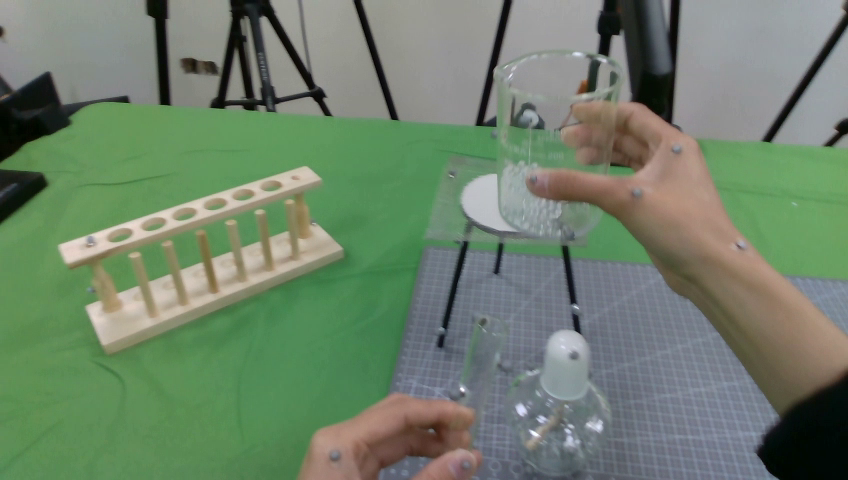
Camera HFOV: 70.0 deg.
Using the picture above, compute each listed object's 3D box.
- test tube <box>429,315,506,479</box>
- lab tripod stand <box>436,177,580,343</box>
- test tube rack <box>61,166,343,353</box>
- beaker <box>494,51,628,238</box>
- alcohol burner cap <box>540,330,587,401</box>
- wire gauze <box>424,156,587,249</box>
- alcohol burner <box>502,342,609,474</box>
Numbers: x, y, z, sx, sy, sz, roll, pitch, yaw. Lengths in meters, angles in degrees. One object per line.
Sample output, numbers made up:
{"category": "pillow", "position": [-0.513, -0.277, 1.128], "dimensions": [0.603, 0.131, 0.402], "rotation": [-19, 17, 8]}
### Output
{"category": "test tube", "position": [0.016, 0.104, 0.311], "dimensions": [0.017, 0.151, 0.017], "rotation": [11, 25, -5]}
{"category": "lab tripod stand", "position": [0.079, 0.022, 0.537], "dimensions": [0.148, 0.132, 0.147], "rotation": [2, 36, -1]}
{"category": "test tube rack", "position": [-0.204, 0.011, 0.596], "dimensions": [0.243, 0.086, 0.066], "rotation": [-23, 42, -28]}
{"category": "beaker", "position": [0.079, -0.059, 0.383], "dimensions": [0.083, 0.101, 0.074], "rotation": [26, 45, 35]}
{"category": "alcohol burner cap", "position": [0.096, 0.082, 0.411], "dimensions": [0.034, 0.048, 0.033], "rotation": [-2, 36, 2]}
{"category": "wire gauze", "position": [0.070, -0.032, 0.496], "dimensions": [0.121, 0.011, 0.124], "rotation": [7, 37, 8]}
{"category": "alcohol burner", "position": [0.095, 0.111, 0.432], "dimensions": [0.078, 0.120, 0.077], "rotation": [0, 38, 0]}
